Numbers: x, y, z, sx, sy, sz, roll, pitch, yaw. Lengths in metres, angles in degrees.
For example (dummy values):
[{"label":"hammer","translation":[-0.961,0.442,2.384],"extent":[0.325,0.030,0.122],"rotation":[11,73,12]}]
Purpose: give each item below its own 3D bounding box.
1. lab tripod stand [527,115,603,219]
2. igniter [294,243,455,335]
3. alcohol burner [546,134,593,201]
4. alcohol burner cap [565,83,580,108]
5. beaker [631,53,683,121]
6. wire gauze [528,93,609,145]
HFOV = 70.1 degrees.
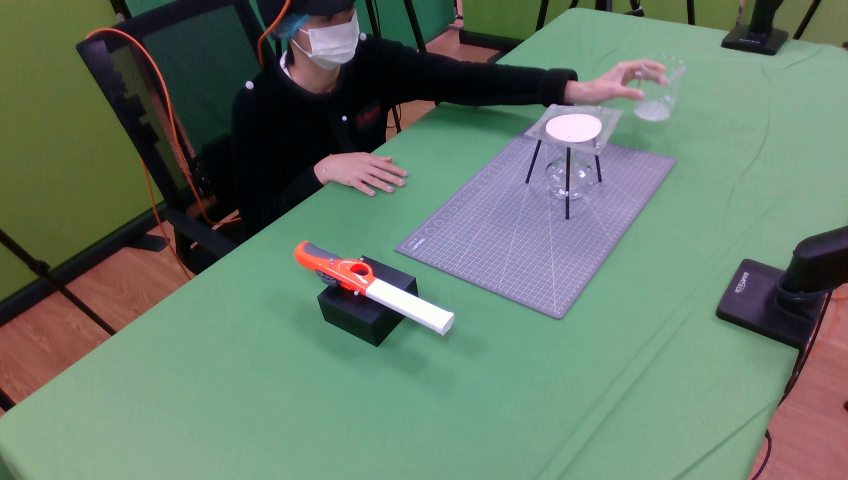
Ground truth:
[{"label":"lab tripod stand","translation":[0.234,-0.129,1.002],"extent":[0.148,0.132,0.147],"rotation":[-6,40,6]},{"label":"igniter","translation":[-0.079,0.062,0.837],"extent":[0.274,0.025,0.057],"rotation":[23,48,27]},{"label":"alcohol burner","translation":[0.243,-0.126,1.011],"extent":[0.078,0.119,0.077],"rotation":[-5,42,5]},{"label":"alcohol burner cap","translation":[0.315,-0.308,1.278],"extent":[0.034,0.048,0.033],"rotation":[-4,42,4]},{"label":"beaker","translation":[0.412,-0.269,1.078],"extent":[0.074,0.100,0.083],"rotation":[-2,43,3]},{"label":"wire gauze","translation":[0.225,-0.188,0.943],"extent":[0.121,0.011,0.124],"rotation":[6,48,9]}]
